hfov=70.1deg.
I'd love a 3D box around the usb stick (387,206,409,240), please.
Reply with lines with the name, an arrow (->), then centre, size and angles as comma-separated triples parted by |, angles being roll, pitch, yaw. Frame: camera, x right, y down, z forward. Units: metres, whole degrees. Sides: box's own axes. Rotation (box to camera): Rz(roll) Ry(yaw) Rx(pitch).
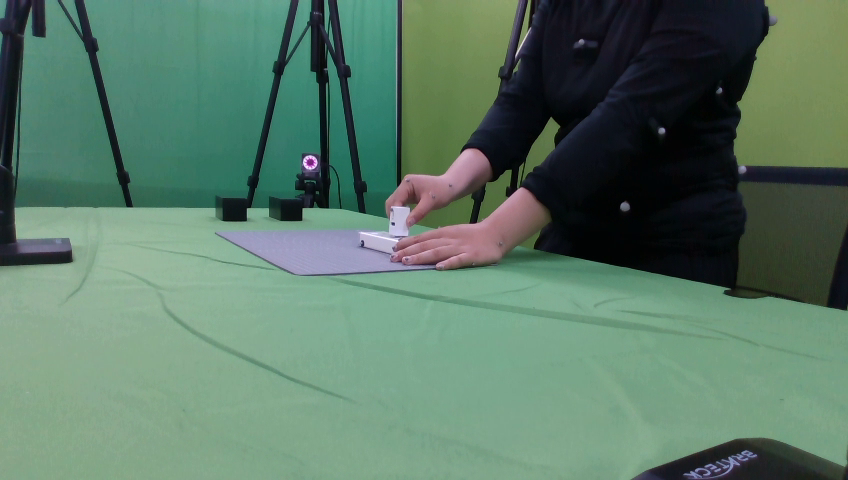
usb stick -> -0.040, -0.022, 0.934 | 0.027, 0.059, 0.021 | -8, 18, -40

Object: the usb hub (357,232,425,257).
usb hub -> -0.054, 0.005, 0.947 | 0.050, 0.025, 0.124 | -3, 9, -36
